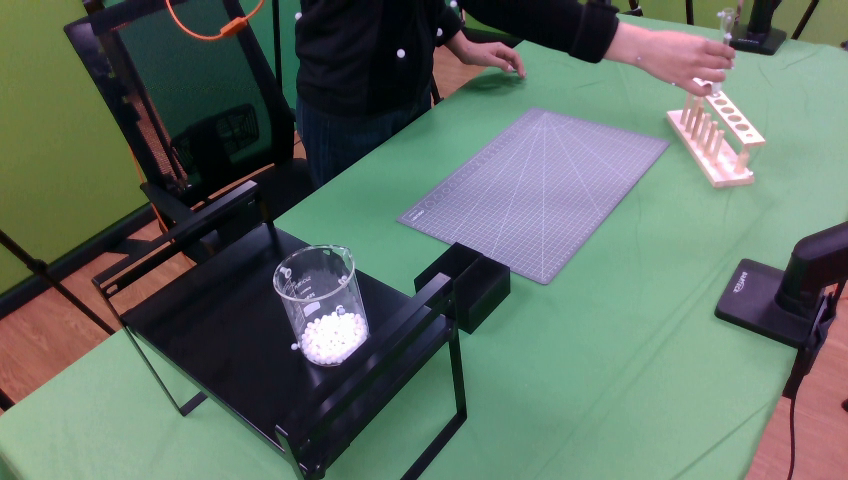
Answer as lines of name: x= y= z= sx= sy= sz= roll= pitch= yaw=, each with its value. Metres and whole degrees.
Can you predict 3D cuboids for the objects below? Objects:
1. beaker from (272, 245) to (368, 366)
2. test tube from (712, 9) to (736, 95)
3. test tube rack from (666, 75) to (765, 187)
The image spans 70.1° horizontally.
beaker: x=-0.093 y=0.064 z=0.578 sx=0.073 sy=0.101 sz=0.084 roll=21 pitch=48 yaw=29
test tube: x=0.465 y=-0.287 z=0.938 sx=0.017 sy=0.151 sz=0.017 roll=-8 pitch=50 yaw=10
test tube rack: x=0.512 y=-0.202 z=1.082 sx=0.067 sy=0.085 sz=0.241 roll=-6 pitch=41 yaw=2
